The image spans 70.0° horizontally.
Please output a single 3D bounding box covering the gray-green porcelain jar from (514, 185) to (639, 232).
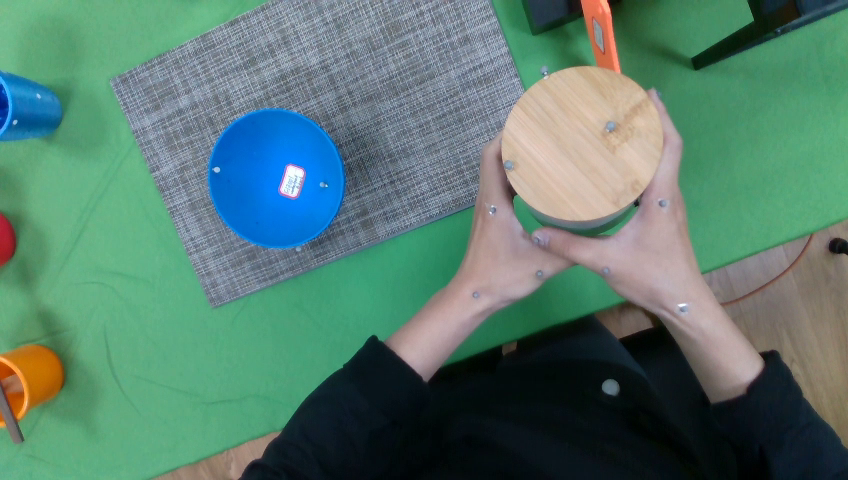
[{"bbox_3d":[0.123,-0.063,0.485,0.105,0.127,0.105,-1,84,14],"label":"gray-green porcelain jar"}]

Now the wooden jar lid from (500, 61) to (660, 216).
[{"bbox_3d":[0.108,-0.070,0.425,0.108,0.021,0.108,-1,86,16],"label":"wooden jar lid"}]

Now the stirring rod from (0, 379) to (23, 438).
[{"bbox_3d":[-0.516,0.155,0.719,0.014,0.006,0.176,-17,97,6],"label":"stirring rod"}]

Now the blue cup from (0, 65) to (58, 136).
[{"bbox_3d":[-0.482,-0.159,0.696,0.092,0.100,0.093,1,99,4],"label":"blue cup"}]

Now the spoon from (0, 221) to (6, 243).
[{"bbox_3d":[-0.608,0.008,0.713,0.194,0.021,0.041,-16,96,-35],"label":"spoon"}]

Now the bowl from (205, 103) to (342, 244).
[{"bbox_3d":[-0.158,-0.075,0.683,0.151,0.076,0.151,1,98,6],"label":"bowl"}]

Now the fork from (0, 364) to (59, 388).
[{"bbox_3d":[-0.561,0.181,0.730,0.208,0.018,0.028,-8,109,-37],"label":"fork"}]

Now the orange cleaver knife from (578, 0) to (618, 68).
[{"bbox_3d":[0.193,-0.177,0.634,0.012,0.076,0.213,-26,124,5],"label":"orange cleaver knife"}]
